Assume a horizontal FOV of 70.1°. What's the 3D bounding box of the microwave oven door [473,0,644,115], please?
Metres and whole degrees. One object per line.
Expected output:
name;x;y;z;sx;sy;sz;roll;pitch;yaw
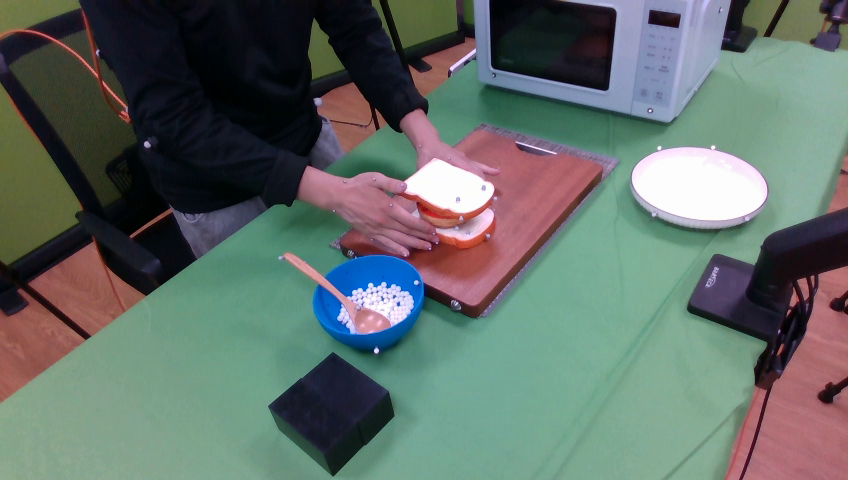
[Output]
microwave oven door;0.257;-0.396;1.199;0.353;0.245;0.039;21;48;29

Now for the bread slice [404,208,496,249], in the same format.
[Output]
bread slice;0.049;-0.035;0.961;0.130;0.019;0.105;23;50;32

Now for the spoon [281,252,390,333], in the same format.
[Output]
spoon;-0.122;0.070;0.811;0.193;0.022;0.042;38;63;16

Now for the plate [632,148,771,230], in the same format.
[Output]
plate;0.447;-0.081;0.988;0.207;0.039;0.206;-4;40;4

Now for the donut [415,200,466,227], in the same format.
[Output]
donut;0.036;-0.058;0.942;0.099;0.048;0.098;-5;40;5

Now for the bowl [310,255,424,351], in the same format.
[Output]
bowl;-0.071;0.098;0.821;0.151;0.077;0.150;-4;40;4

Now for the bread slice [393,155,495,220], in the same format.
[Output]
bread slice;0.038;-0.078;0.920;0.133;0.018;0.107;25;49;23

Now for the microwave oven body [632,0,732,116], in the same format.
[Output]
microwave oven body;0.377;-0.462;1.267;0.438;0.261;0.327;21;49;30

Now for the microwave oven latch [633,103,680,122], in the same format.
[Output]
microwave oven latch;0.444;-0.249;1.157;0.078;0.029;0.030;21;49;30
